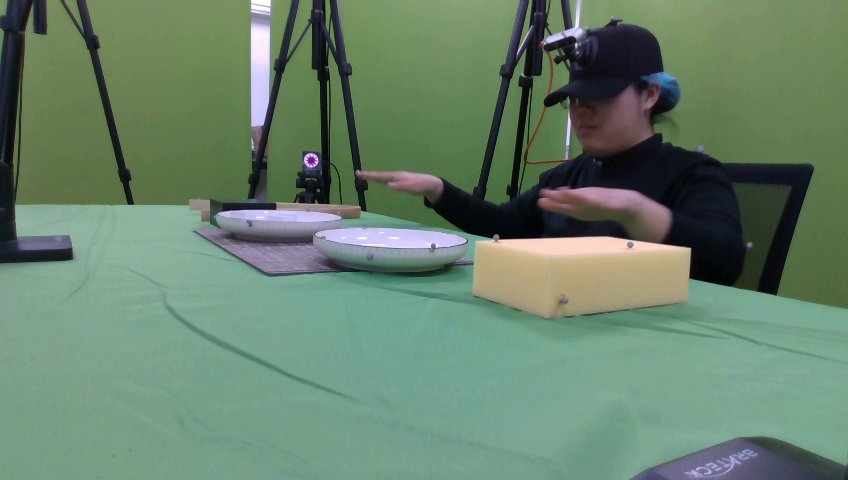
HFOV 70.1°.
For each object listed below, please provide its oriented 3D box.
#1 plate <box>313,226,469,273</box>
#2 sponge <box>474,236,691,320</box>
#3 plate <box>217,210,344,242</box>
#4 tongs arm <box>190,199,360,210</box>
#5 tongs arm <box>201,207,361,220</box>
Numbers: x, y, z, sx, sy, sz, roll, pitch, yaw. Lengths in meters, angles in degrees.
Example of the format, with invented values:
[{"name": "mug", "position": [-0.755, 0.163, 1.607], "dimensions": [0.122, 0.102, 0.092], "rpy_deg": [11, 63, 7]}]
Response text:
[{"name": "plate", "position": [-0.044, 0.012, 0.808], "dimensions": [0.209, 0.038, 0.209], "rpy_deg": [2, 7, 0]}, {"name": "sponge", "position": [0.170, 0.034, 0.643], "dimensions": [0.208, 0.061, 0.117], "rpy_deg": [-2, 7, -33]}, {"name": "plate", "position": [-0.241, -0.024, 1.026], "dimensions": [0.208, 0.039, 0.207], "rpy_deg": [3, 7, 0]}, {"name": "tongs arm", "position": [-0.341, -0.075, 1.419], "dimensions": [0.387, 0.026, 0.050], "rpy_deg": [0, 8, -25]}, {"name": "tongs arm", "position": [-0.301, -0.060, 1.350], "dimensions": [0.390, 0.028, 0.028], "rpy_deg": [-3, 6, -38]}]
